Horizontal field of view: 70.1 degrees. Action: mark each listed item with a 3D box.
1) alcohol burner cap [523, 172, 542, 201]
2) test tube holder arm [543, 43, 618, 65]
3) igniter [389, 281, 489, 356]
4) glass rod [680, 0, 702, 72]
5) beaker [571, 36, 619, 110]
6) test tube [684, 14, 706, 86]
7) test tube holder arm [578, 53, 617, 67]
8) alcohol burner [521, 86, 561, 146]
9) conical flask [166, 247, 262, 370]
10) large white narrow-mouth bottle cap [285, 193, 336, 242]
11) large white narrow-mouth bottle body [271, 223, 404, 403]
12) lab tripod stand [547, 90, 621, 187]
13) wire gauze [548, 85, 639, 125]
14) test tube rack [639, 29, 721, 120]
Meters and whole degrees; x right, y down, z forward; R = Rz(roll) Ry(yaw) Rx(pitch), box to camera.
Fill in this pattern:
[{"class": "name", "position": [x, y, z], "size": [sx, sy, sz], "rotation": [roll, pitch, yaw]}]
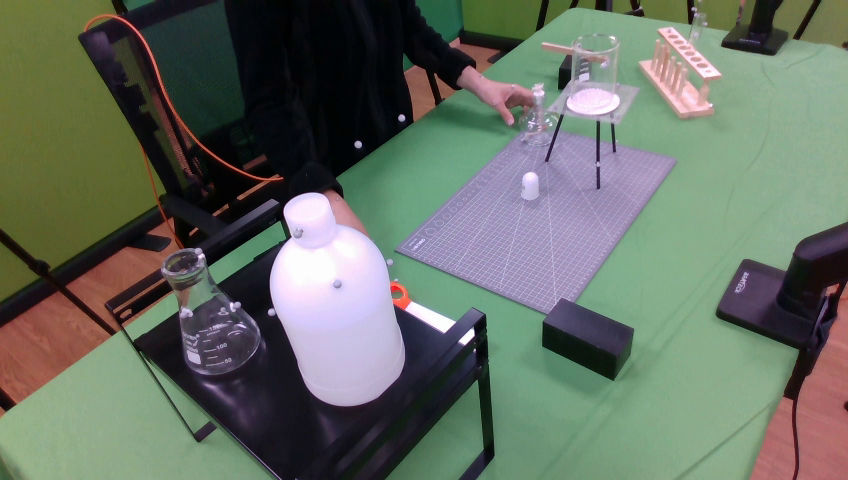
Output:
[{"class": "alcohol burner cap", "position": [0.186, -0.096, 1.047], "size": [0.034, 0.048, 0.033], "rotation": [-6, 37, 5]}, {"class": "test tube holder arm", "position": [0.344, -0.413, 1.340], "size": [0.177, 0.015, 0.013], "rotation": [25, 51, 31]}, {"class": "igniter", "position": [-0.029, 0.095, 0.871], "size": [0.274, 0.025, 0.057], "rotation": [22, 59, 31]}, {"class": "glass rod", "position": [0.542, -0.417, 1.233], "size": [0.008, 0.200, 0.008], "rotation": [1, 40, 0]}, {"class": "beaker", "position": [0.281, -0.273, 0.992], "size": [0.084, 0.101, 0.073], "rotation": [-24, 42, -16]}, {"class": "test tube", "position": [0.540, -0.378, 1.215], "size": [0.017, 0.151, 0.017], "rotation": [-2, 44, 3]}, {"class": "test tube holder arm", "position": [0.376, -0.393, 1.314], "size": [0.087, 0.015, 0.010], "rotation": [26, 51, 32]}, {"class": "alcohol burner", "position": [0.223, -0.241, 1.155], "size": [0.078, 0.119, 0.077], "rotation": [-5, 43, 5]}, {"class": "conical flask", "position": [-0.209, 0.064, 0.584], "size": [0.075, 0.122, 0.075], "rotation": [-5, 40, 4]}, {"class": "large white narrow-mouth bottle cap", "position": [-0.087, -0.018, 0.467], "size": [0.038, 0.024, 0.037], "rotation": [-5, 40, 4]}, {"class": "large white narrow-mouth bottle body", "position": [-0.077, 0.048, 0.525], "size": [0.102, 0.195, 0.101], "rotation": [-5, 40, 5]}, {"class": "lab tripod stand", "position": [0.289, -0.184, 1.062], "size": [0.148, 0.132, 0.147], "rotation": [-6, 41, 6]}, {"class": "wire gauze", "position": [0.286, -0.233, 1.020], "size": [0.124, 0.011, 0.122], "rotation": [15, 43, 30]}, {"class": "test tube rack", "position": [0.527, -0.351, 1.262], "size": [0.067, 0.085, 0.241], "rotation": [-8, 40, 1]}]
